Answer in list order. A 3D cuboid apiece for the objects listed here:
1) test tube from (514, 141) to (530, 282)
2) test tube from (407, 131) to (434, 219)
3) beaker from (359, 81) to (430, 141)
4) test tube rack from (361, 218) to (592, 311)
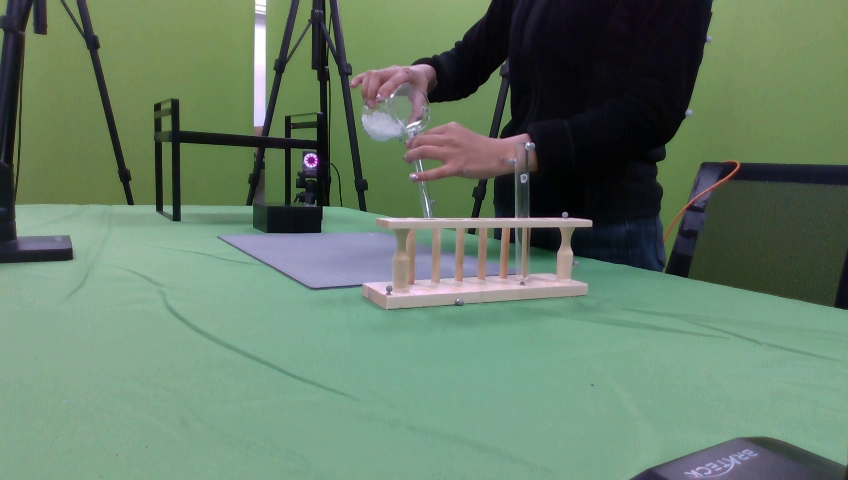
[{"bbox_3d":[0.103,-0.028,0.636,0.017,0.150,0.017,-2,12,1],"label":"test tube"},{"bbox_3d":[-0.006,-0.096,0.896,0.017,0.150,0.017,-10,-22,-4],"label":"test tube"},{"bbox_3d":[-0.049,-0.198,0.961,0.074,0.084,0.100,-2,-3,-39],"label":"beaker"},{"bbox_3d":[0.059,0.019,0.640,0.243,0.085,0.066,-1,8,-27],"label":"test tube rack"}]
